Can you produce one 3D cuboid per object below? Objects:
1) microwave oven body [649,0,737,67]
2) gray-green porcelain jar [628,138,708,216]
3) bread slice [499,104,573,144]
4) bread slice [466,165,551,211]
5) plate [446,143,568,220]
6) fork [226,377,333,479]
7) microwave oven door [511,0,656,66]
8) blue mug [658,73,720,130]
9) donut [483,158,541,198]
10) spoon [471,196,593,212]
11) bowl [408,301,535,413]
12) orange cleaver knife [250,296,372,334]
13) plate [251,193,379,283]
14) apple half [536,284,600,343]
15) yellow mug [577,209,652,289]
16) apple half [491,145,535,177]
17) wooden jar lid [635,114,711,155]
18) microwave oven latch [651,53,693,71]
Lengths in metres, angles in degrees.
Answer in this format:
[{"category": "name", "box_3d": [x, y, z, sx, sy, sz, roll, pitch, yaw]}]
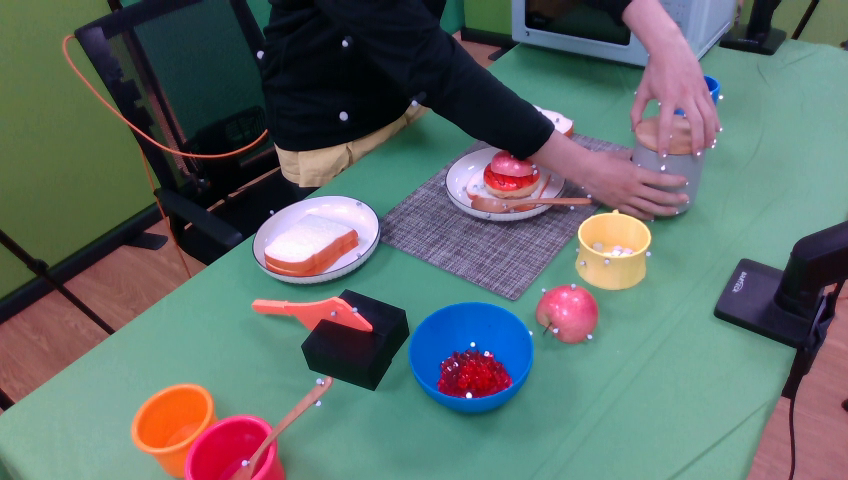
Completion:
[{"category": "microwave oven body", "box_3d": [0.475, -0.602, 1.411, 0.438, 0.261, 0.327, 23, 50, 32]}, {"category": "gray-green porcelain jar", "box_3d": [0.384, -0.111, 0.964, 0.106, 0.127, 0.105, -4, 42, 4]}, {"category": "bread slice", "box_3d": [0.231, -0.232, 1.205, 0.105, 0.019, 0.130, -36, 47, -28]}, {"category": "bread slice", "box_3d": [0.141, -0.091, 1.043, 0.133, 0.018, 0.107, 11, 43, 18]}, {"category": "plate", "box_3d": [0.143, -0.097, 1.045, 0.207, 0.039, 0.206, -4, 40, 4]}, {"category": "fork", "box_3d": [-0.163, 0.216, 0.647, 0.207, 0.019, 0.028, -49, 41, 16]}, {"category": "microwave oven door", "box_3d": [0.351, -0.539, 1.348, 0.353, 0.245, 0.039, 24, 50, 31]}, {"category": "blue mug", "box_3d": [0.483, -0.250, 1.127, 0.082, 0.106, 0.115, -26, 44, -19]}, {"category": "donut", "box_3d": [0.148, -0.112, 1.015, 0.099, 0.048, 0.098, -3, 48, 4]}, {"category": "spoon", "box_3d": [0.172, -0.060, 0.974, 0.193, 0.022, 0.041, -4, 39, 17]}, {"category": "bowl", "box_3d": [0.060, 0.156, 0.739, 0.151, 0.077, 0.150, -4, 40, 4]}, {"category": "orange cleaver knife", "box_3d": [-0.158, 0.103, 0.828, 0.210, 0.078, 0.012, -4, 43, 39]}, {"category": "plate", "box_3d": [-0.174, -0.001, 0.984, 0.209, 0.038, 0.208, -4, 40, 4]}, {"category": "apple half", "box_3d": [0.196, 0.091, 0.815, 0.075, 0.053, 0.080, -22, 42, -20]}, {"category": "yellow mug", "box_3d": [0.279, 0.004, 0.893, 0.099, 0.064, 0.130, 5, 42, 15]}, {"category": "apple half", "box_3d": [0.147, -0.137, 0.994, 0.081, 0.033, 0.081, 0, 38, 0]}, {"category": "wooden jar lid", "box_3d": [0.378, -0.157, 0.924, 0.108, 0.021, 0.108, -3, 41, 3]}, {"category": "microwave oven latch", "box_3d": [0.532, -0.387, 1.301, 0.078, 0.029, 0.030, 28, 52, 34]}]
